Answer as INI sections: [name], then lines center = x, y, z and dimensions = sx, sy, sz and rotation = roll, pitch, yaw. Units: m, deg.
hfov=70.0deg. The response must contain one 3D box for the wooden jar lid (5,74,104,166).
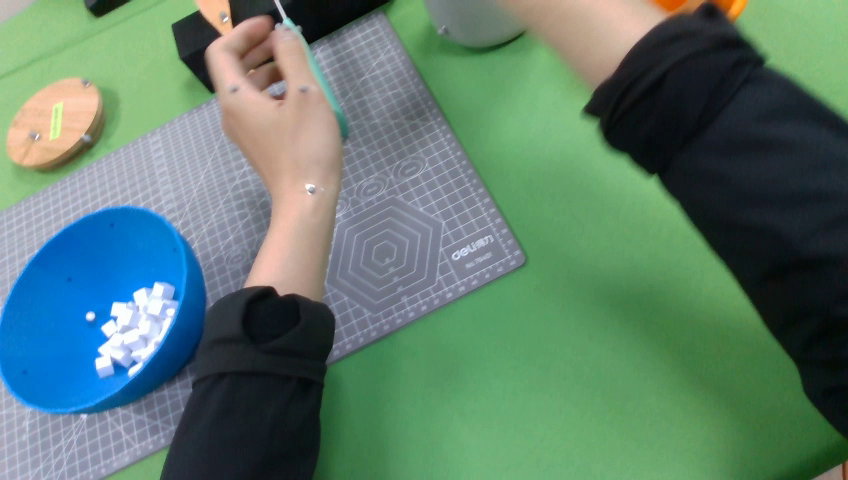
[wooden jar lid]
center = -0.366, -0.118, 0.606
dimensions = 0.108, 0.021, 0.107
rotation = -6, 63, 12

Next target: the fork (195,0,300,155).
[fork]
center = -0.159, -0.161, 0.527
dimensions = 0.028, 0.019, 0.206
rotation = -29, 79, -1

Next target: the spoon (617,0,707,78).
[spoon]
center = 0.200, -0.179, 0.391
dimensions = 0.022, 0.194, 0.041
rotation = -1, 59, -34

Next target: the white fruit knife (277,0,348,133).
[white fruit knife]
center = -0.114, -0.182, 0.525
dimensions = 0.016, 0.027, 0.206
rotation = -28, 74, 2

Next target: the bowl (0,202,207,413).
[bowl]
center = -0.215, 0.056, 0.440
dimensions = 0.151, 0.077, 0.150
rotation = -7, 63, 14

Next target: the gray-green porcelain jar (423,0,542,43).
[gray-green porcelain jar]
center = 0.040, -0.230, 0.475
dimensions = 0.105, 0.128, 0.105
rotation = -7, 63, 14
